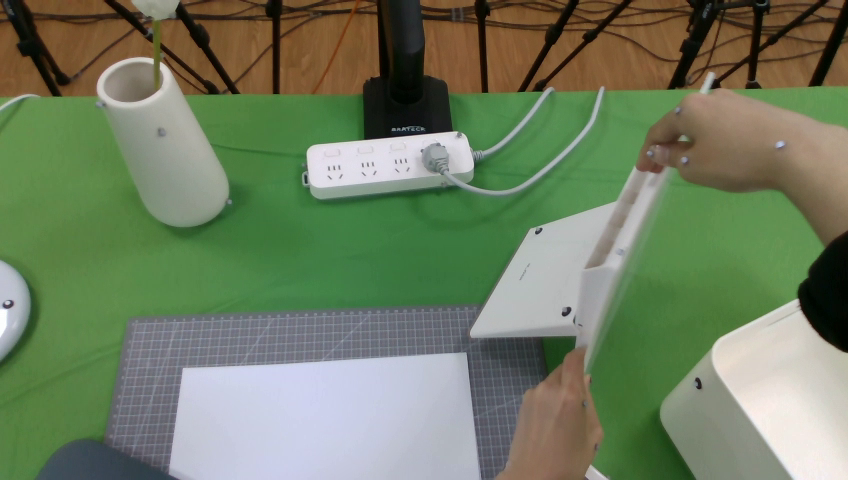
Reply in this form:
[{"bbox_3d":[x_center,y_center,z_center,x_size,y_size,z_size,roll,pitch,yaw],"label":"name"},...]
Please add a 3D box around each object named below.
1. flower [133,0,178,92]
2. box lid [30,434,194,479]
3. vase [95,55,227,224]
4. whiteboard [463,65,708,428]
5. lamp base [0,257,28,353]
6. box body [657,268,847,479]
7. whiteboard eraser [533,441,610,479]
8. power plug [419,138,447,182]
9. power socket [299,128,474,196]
[{"bbox_3d":[-0.260,-0.140,0.591,0.038,0.362,0.044,45,56,3],"label":"flower"},{"bbox_3d":[-0.227,0.344,0.505,0.370,0.015,0.262,20,60,8],"label":"box lid"},{"bbox_3d":[-0.284,-0.103,0.664,0.098,0.201,0.097,1,58,-1],"label":"vase"},{"bbox_3d":[0.131,0.002,0.577,0.143,0.308,0.216,24,60,21],"label":"whiteboard"},{"bbox_3d":[-0.513,0.034,0.576,0.178,0.182,0.160,26,60,16],"label":"lamp base"},{"bbox_3d":[0.415,0.224,0.528,0.254,0.161,0.360,-21,62,-15],"label":"box body"},{"bbox_3d":[0.119,0.247,0.564,0.055,0.042,0.112,38,64,19],"label":"whiteboard eraser"},{"bbox_3d":[0.010,-0.093,0.747,0.035,0.053,0.072,3,64,-2],"label":"power plug"},{"bbox_3d":[-0.046,-0.101,0.774,0.227,0.033,0.071,-6,60,-8],"label":"power socket"}]
